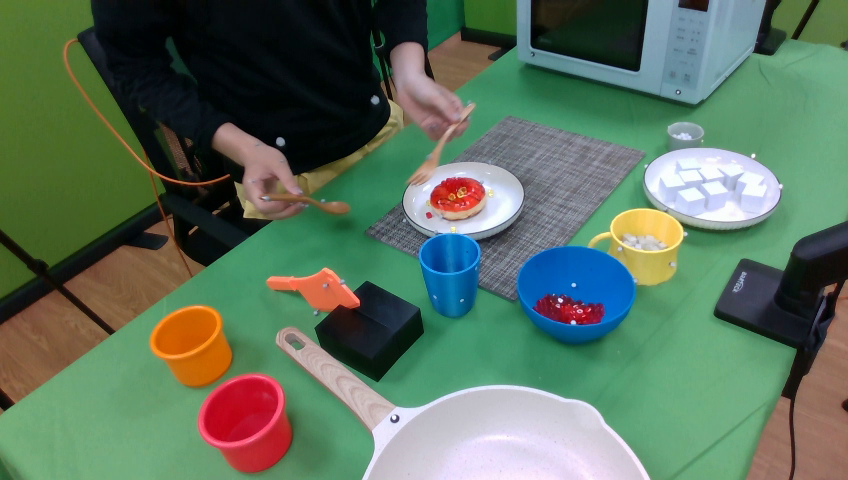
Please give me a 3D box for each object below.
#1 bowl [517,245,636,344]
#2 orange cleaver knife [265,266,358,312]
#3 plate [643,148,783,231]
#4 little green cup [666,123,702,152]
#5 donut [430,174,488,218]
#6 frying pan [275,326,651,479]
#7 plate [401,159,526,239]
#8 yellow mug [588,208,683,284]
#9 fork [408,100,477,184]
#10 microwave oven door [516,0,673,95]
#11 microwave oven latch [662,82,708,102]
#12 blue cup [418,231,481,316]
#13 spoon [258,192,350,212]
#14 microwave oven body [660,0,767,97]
[{"bbox_3d":[0.200,0.084,0.803,0.151,0.077,0.150,-4,40,4],"label":"bowl"},{"bbox_3d":[-0.165,0.073,0.864,0.210,0.077,0.012,-6,31,50],"label":"orange cleaver knife"},{"bbox_3d":[0.464,-0.080,0.986,0.207,0.039,0.206,-4,40,4],"label":"plate"},{"bbox_3d":[0.472,-0.183,1.102,0.061,0.039,0.061,-5,39,5],"label":"little green cup"},{"bbox_3d":[0.058,-0.076,1.015,0.099,0.048,0.098,-6,38,5],"label":"donut"},{"bbox_3d":[0.003,0.229,0.641,0.484,0.103,0.308,34,54,28],"label":"frying pan"},{"bbox_3d":[0.067,-0.065,1.019,0.209,0.038,0.208,-4,40,4],"label":"plate"},{"bbox_3d":[0.305,0.009,0.884,0.131,0.064,0.099,-4,40,5],"label":"yellow mug"},{"bbox_3d":[0.033,-0.150,0.902,0.028,0.019,0.207,13,54,28],"label":"fork"},{"bbox_3d":[0.344,-0.458,1.256,0.353,0.245,0.039,26,51,33],"label":"microwave oven door"},{"bbox_3d":[0.518,-0.298,1.203,0.078,0.029,0.030,28,53,35],"label":"microwave oven latch"},{"bbox_3d":[0.040,0.053,0.843,0.092,0.100,0.092,-4,43,4],"label":"blue cup"},{"bbox_3d":[-0.174,-0.060,0.890,0.041,0.021,0.195,27,9,26],"label":"spoon"},{"bbox_3d":[0.473,-0.517,1.313,0.438,0.261,0.327,26,51,34],"label":"microwave oven body"}]
